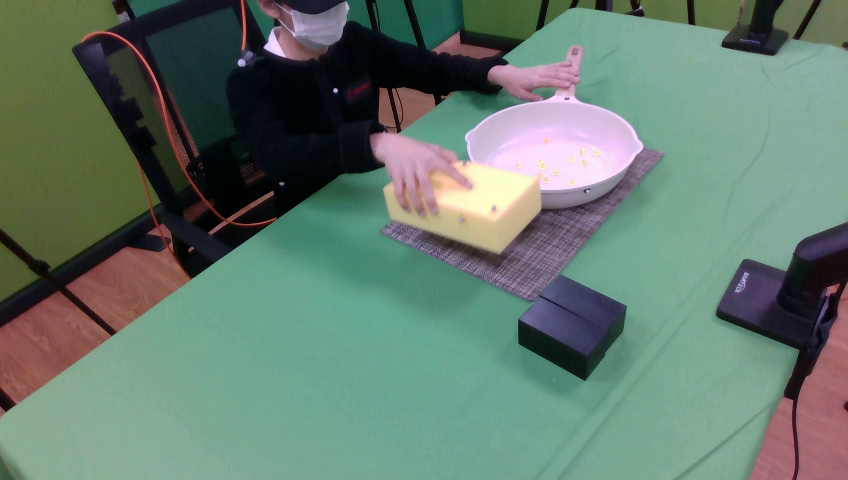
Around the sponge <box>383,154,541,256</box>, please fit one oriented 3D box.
[{"bbox_3d":[0.056,-0.058,0.914,0.205,0.061,0.118,18,46,33],"label":"sponge"}]

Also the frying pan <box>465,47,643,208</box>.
[{"bbox_3d":[0.255,-0.228,1.135,0.305,0.103,0.487,9,51,17],"label":"frying pan"}]
